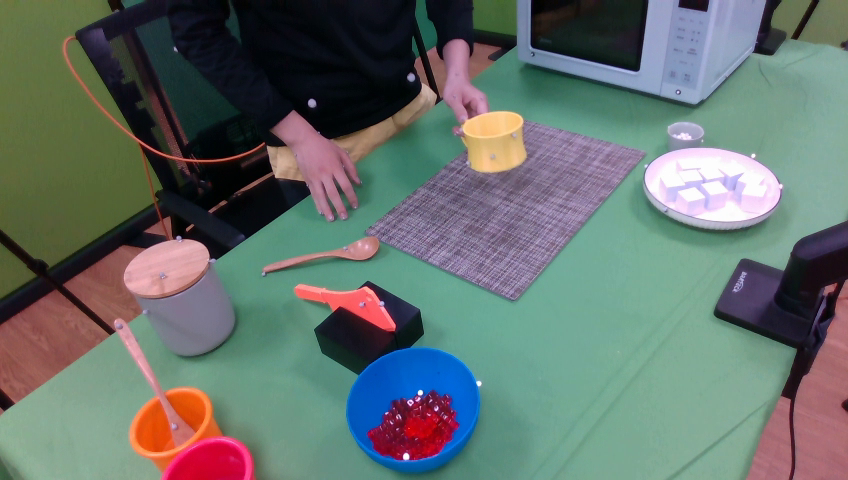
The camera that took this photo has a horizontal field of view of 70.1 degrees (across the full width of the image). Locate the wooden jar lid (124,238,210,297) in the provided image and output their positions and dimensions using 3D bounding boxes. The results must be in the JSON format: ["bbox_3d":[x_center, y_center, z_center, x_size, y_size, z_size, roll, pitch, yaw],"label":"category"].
[{"bbox_3d":[-0.334,0.038,0.794,0.108,0.021,0.108,-2,40,2],"label":"wooden jar lid"}]

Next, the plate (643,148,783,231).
[{"bbox_3d":[0.464,-0.080,0.986,0.207,0.039,0.206,-4,41,4],"label":"plate"}]

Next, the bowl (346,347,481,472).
[{"bbox_3d":[-0.008,0.205,0.691,0.151,0.077,0.150,-4,40,4],"label":"bowl"}]

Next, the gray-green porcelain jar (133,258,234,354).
[{"bbox_3d":[-0.328,0.087,0.836,0.106,0.127,0.105,-4,41,4],"label":"gray-green porcelain jar"}]

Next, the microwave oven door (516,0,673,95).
[{"bbox_3d":[0.344,-0.458,1.256,0.353,0.245,0.039,26,51,33],"label":"microwave oven door"}]

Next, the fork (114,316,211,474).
[{"bbox_3d":[-0.309,0.179,0.708,0.028,0.018,0.207,-30,89,-24],"label":"fork"}]

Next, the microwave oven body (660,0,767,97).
[{"bbox_3d":[0.473,-0.516,1.313,0.438,0.261,0.327,26,51,34],"label":"microwave oven body"}]

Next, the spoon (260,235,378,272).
[{"bbox_3d":[-0.167,0.024,0.966,0.194,0.022,0.041,-10,57,-3],"label":"spoon"}]

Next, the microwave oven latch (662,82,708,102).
[{"bbox_3d":[0.517,-0.298,1.202,0.078,0.029,0.030,27,52,34],"label":"microwave oven latch"}]

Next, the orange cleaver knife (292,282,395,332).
[{"bbox_3d":[-0.116,0.091,0.835,0.209,0.077,0.012,2,32,48],"label":"orange cleaver knife"}]

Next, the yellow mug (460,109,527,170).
[{"bbox_3d":[0.106,-0.172,1.012,0.100,0.064,0.129,-34,39,-29],"label":"yellow mug"}]

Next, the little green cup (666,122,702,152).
[{"bbox_3d":[0.471,-0.184,1.102,0.061,0.039,0.061,-5,41,5],"label":"little green cup"}]
